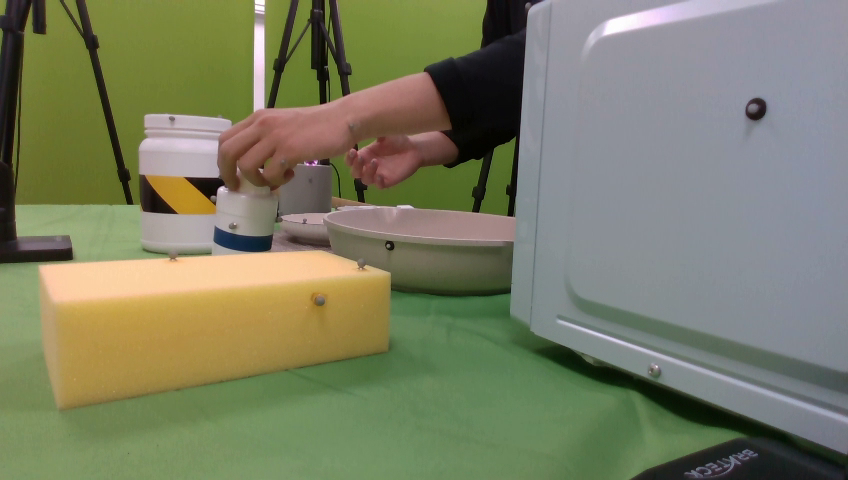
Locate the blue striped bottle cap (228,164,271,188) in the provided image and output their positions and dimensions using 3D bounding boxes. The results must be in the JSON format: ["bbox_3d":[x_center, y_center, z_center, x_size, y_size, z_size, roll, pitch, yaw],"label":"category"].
[{"bbox_3d":[-0.187,-0.069,0.650,0.044,0.020,0.044,6,12,-1],"label":"blue striped bottle cap"}]

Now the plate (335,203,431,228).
[{"bbox_3d":[-0.089,-0.053,1.309,0.208,0.039,0.207,2,8,0],"label":"plate"}]

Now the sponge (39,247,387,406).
[{"bbox_3d":[-0.142,0.047,0.420,0.208,0.061,0.117,-3,9,-36],"label":"sponge"}]

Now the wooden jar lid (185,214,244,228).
[{"bbox_3d":[-0.404,-0.037,1.169,0.108,0.020,0.108,3,7,0],"label":"wooden jar lid"}]

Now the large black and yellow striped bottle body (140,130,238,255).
[{"bbox_3d":[-0.336,-0.078,0.871,0.131,0.184,0.130,2,8,0],"label":"large black and yellow striped bottle body"}]

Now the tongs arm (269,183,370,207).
[{"bbox_3d":[-0.241,-0.095,1.373,0.387,0.026,0.050,9,0,-37],"label":"tongs arm"}]

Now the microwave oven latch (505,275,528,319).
[{"bbox_3d":[0.100,0.041,0.471,0.079,0.029,0.030,-1,7,-28],"label":"microwave oven latch"}]

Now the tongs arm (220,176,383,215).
[{"bbox_3d":[-0.285,-0.103,1.445,0.389,0.027,0.028,9,-4,-23],"label":"tongs arm"}]

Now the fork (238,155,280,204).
[{"bbox_3d":[-0.396,-0.143,1.486,0.028,0.018,0.208,20,-26,45],"label":"fork"}]

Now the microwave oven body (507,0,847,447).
[{"bbox_3d":[0.331,-0.042,0.425,0.444,0.260,0.324,-2,8,-31],"label":"microwave oven body"}]

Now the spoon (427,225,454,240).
[{"bbox_3d":[0.024,-0.019,1.124,0.042,0.021,0.193,-16,9,-4],"label":"spoon"}]

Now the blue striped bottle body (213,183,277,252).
[{"bbox_3d":[-0.195,-0.018,0.660,0.063,0.120,0.063,9,11,-1],"label":"blue striped bottle body"}]

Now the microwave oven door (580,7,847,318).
[{"bbox_3d":[0.295,-0.067,0.570,0.358,0.243,0.039,-3,9,-31],"label":"microwave oven door"}]

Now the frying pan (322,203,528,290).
[{"bbox_3d":[0.109,-0.018,0.800,0.490,0.102,0.305,-12,16,-30],"label":"frying pan"}]

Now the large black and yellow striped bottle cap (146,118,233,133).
[{"bbox_3d":[-0.333,-0.163,0.861,0.115,0.019,0.115,1,9,0],"label":"large black and yellow striped bottle cap"}]

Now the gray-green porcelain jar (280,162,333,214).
[{"bbox_3d":[-0.238,-0.092,1.221,0.106,0.126,0.106,2,7,0],"label":"gray-green porcelain jar"}]

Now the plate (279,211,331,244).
[{"bbox_3d":[-0.139,-0.022,1.021,0.209,0.038,0.209,2,8,0],"label":"plate"}]
